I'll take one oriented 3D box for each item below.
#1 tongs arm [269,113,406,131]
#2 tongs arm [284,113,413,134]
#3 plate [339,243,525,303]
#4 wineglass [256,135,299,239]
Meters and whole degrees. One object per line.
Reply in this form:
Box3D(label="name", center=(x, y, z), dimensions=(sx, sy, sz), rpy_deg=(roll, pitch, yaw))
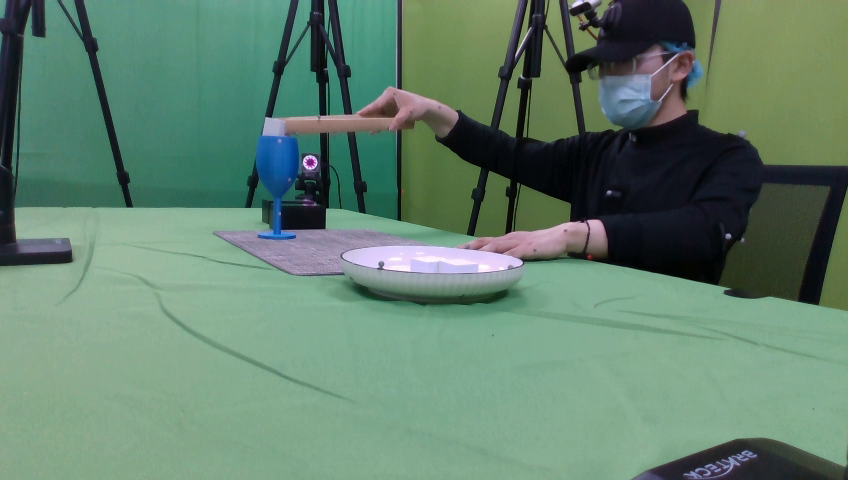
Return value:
Box3D(label="tongs arm", center=(-0.156, -0.234, 1.190), dimensions=(0.028, 0.028, 0.389), rpy_deg=(10, 16, 31))
Box3D(label="tongs arm", center=(-0.135, -0.229, 1.178), dimensions=(0.050, 0.026, 0.387), rpy_deg=(15, 19, 34))
Box3D(label="plate", center=(0.008, 0.035, 0.682), dimensions=(0.209, 0.038, 0.209), rpy_deg=(3, 7, 0))
Box3D(label="wineglass", center=(-0.252, -0.091, 1.035), dimensions=(0.074, 0.172, 0.073), rpy_deg=(2, 7, 0))
